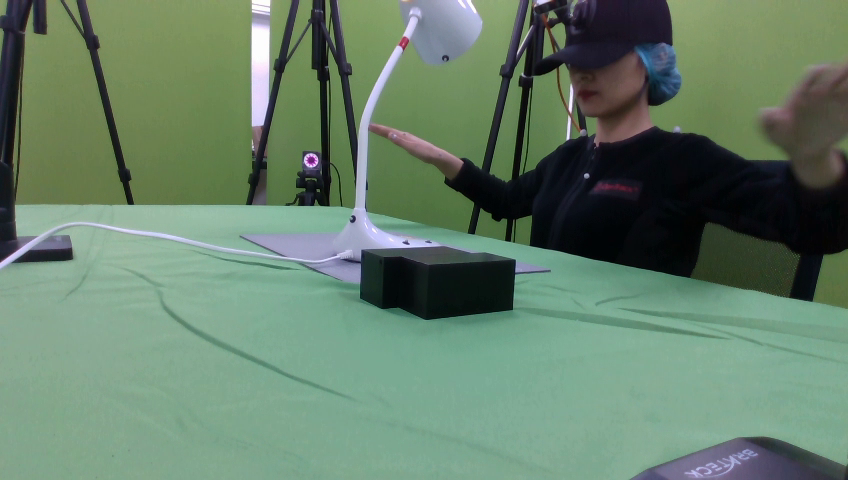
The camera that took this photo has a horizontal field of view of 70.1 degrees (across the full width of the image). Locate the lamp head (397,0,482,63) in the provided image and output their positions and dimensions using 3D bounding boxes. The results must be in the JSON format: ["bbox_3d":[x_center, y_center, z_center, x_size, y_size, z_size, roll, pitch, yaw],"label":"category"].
[{"bbox_3d":[0.011,-0.341,0.899,0.112,0.112,0.123,7,-21,37],"label":"lamp head"}]

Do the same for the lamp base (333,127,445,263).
[{"bbox_3d":[-0.054,-0.064,0.842,0.160,0.180,0.180,6,11,29],"label":"lamp base"}]
